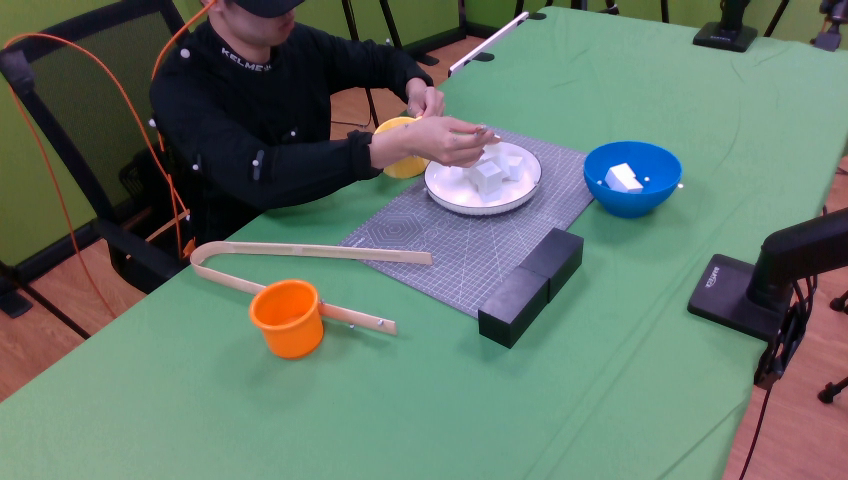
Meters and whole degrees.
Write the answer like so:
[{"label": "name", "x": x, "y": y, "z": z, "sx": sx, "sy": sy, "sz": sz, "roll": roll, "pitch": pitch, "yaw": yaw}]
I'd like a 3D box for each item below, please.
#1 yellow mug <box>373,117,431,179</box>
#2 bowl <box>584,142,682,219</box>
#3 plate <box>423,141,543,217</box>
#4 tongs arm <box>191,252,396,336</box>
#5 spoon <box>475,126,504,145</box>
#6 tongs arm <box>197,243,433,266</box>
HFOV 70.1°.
[{"label": "yellow mug", "x": -0.031, "y": -0.182, "z": 1.135, "sx": 0.099, "sy": 0.064, "sz": 0.131, "roll": 26, "pitch": 61, "yaw": 27}, {"label": "bowl", "x": 0.333, "y": -0.087, "z": 0.980, "sx": 0.151, "sy": 0.077, "sz": 0.150, "roll": -4, "pitch": 40, "yaw": 3}, {"label": "plate", "x": 0.103, "y": -0.104, "z": 1.059, "sx": 0.207, "sy": 0.039, "sz": 0.206, "roll": -4, "pitch": 40, "yaw": 4}, {"label": "tongs arm", "x": -0.204, "y": 0.075, "z": 0.902, "sx": 0.382, "sy": 0.026, "sz": 0.051, "roll": 10, "pitch": 44, "yaw": 22}, {"label": "spoon", "x": 0.101, "y": -0.173, "z": 0.989, "sx": 0.041, "sy": 0.021, "sz": 0.194, "roll": -4, "pitch": 0, "yaw": 14}, {"label": "tongs arm", "x": -0.177, "y": 0.025, "z": 0.960, "sx": 0.386, "sy": 0.028, "sz": 0.028, "roll": 2, "pitch": 45, "yaw": 12}]
